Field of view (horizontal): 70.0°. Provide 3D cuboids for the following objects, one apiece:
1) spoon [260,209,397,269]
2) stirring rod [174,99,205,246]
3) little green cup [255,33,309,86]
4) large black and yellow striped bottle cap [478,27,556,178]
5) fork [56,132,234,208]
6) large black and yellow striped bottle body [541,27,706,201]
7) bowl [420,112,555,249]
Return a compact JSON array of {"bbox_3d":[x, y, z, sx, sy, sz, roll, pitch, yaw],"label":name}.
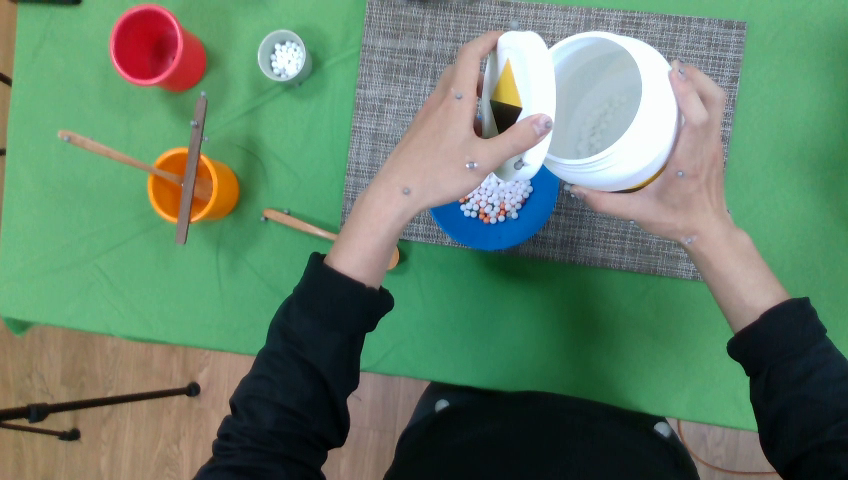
[{"bbox_3d":[-0.123,-0.008,0.768,0.193,0.021,0.042,18,108,7],"label":"spoon"},{"bbox_3d":[-0.279,-0.080,0.723,0.014,0.006,0.176,10,93,7],"label":"stirring rod"},{"bbox_3d":[-0.176,-0.224,0.761,0.061,0.038,0.061,0,92,10],"label":"little green cup"},{"bbox_3d":[0.070,-0.107,0.479,0.019,0.114,0.115,-2,91,-16],"label":"large black and yellow striped bottle cap"},{"bbox_3d":[-0.330,-0.084,0.733,0.209,0.018,0.028,23,99,-36],"label":"fork"},{"bbox_3d":[0.175,-0.111,0.561,0.130,0.185,0.130,-3,84,35],"label":"large black and yellow striped bottle body"},{"bbox_3d":[0.075,-0.066,0.705,0.151,0.077,0.151,0,92,9],"label":"bowl"}]
